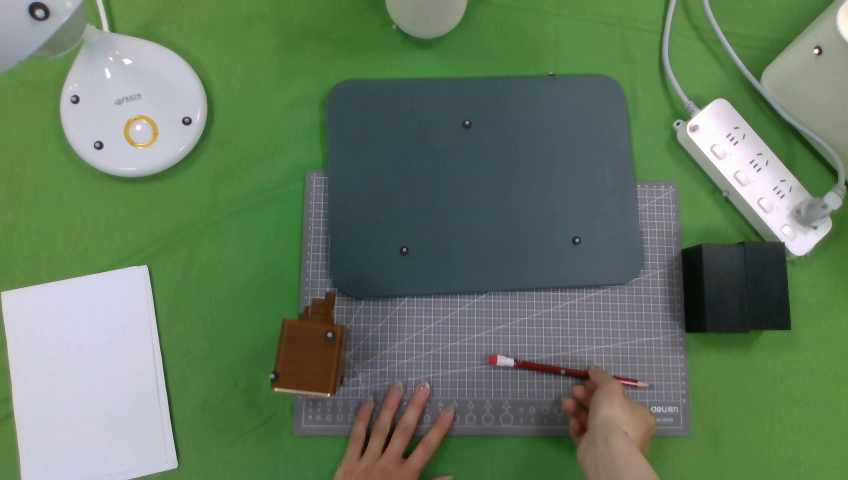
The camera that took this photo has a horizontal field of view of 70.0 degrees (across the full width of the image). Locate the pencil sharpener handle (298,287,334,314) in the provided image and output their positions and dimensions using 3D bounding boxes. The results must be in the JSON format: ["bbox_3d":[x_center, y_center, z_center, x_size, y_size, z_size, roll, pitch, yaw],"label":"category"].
[{"bbox_3d":[-0.106,0.061,0.622,0.036,0.068,0.030,6,80,4],"label":"pencil sharpener handle"}]

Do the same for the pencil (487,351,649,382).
[{"bbox_3d":[0.166,0.147,0.695,0.194,0.012,0.012,10,80,-5],"label":"pencil"}]

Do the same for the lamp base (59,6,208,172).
[{"bbox_3d":[-0.330,-0.177,0.617,0.160,0.181,0.178,-30,82,-9],"label":"lamp base"}]

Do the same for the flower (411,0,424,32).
[{"bbox_3d":[0.024,-0.334,0.578,0.044,0.363,0.038,-25,72,-23],"label":"flower"}]

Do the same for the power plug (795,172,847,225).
[{"bbox_3d":[0.472,-0.045,0.716,0.072,0.053,0.035,-28,82,-13],"label":"power plug"}]

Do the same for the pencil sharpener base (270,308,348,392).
[{"bbox_3d":[-0.115,0.112,0.626,0.061,0.107,0.076,8,80,-3],"label":"pencil sharpener base"}]

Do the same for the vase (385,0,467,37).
[{"bbox_3d":[0.009,-0.306,0.656,0.098,0.200,0.098,1,80,-5],"label":"vase"}]

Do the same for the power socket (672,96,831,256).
[{"bbox_3d":[0.400,-0.079,0.739,0.072,0.032,0.226,-39,86,-9],"label":"power socket"}]

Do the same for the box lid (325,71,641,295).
[{"bbox_3d":[0.072,-0.073,0.720,0.372,0.015,0.262,-3,81,-5],"label":"box lid"}]

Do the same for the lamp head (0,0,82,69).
[{"bbox_3d":[-0.268,-0.179,0.344,0.112,0.124,0.111,-19,50,24],"label":"lamp head"}]

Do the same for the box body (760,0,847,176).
[{"bbox_3d":[0.620,-0.166,0.704,0.254,0.160,0.363,-42,87,-9],"label":"box body"}]
